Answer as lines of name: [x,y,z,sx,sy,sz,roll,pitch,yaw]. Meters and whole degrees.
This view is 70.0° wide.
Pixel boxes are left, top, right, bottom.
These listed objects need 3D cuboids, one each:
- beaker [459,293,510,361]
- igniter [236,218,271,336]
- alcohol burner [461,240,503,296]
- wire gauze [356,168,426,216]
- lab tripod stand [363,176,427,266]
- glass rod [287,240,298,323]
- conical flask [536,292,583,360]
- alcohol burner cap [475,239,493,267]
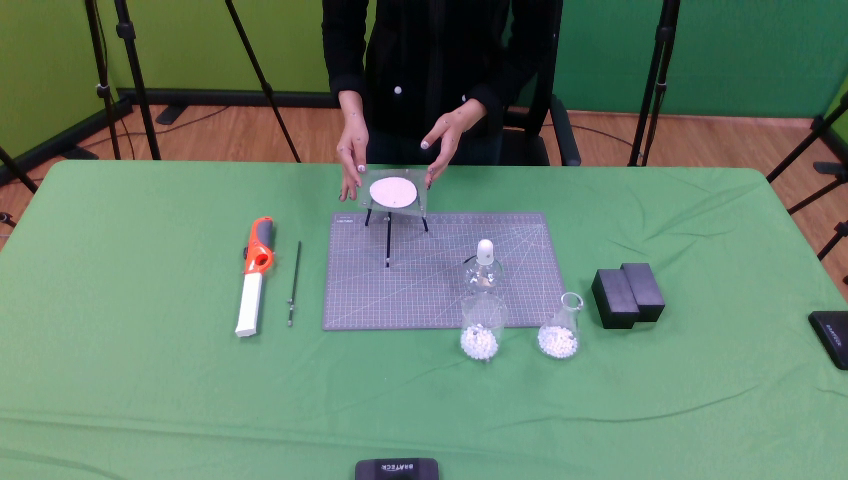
beaker: [0.094,0.147,1.012,0.083,0.101,0.074,26,49,21]
igniter: [-0.312,0.058,1.115,0.057,0.025,0.274,-9,46,2]
alcohol burner: [0.106,0.045,1.098,0.078,0.120,0.077,2,44,-1]
wire gauze: [-0.059,-0.092,1.108,0.125,0.011,0.120,5,44,-2]
lab tripod stand: [-0.057,-0.047,1.159,0.148,0.132,0.147,3,44,-2]
glass rod: [-0.242,0.072,1.119,0.008,0.008,0.198,-1,47,-5]
conical flask: [0.234,0.139,1.015,0.075,0.122,0.075,2,46,-2]
alcohol burner cap: [0.107,0.020,1.071,0.034,0.048,0.033,-2,46,2]
